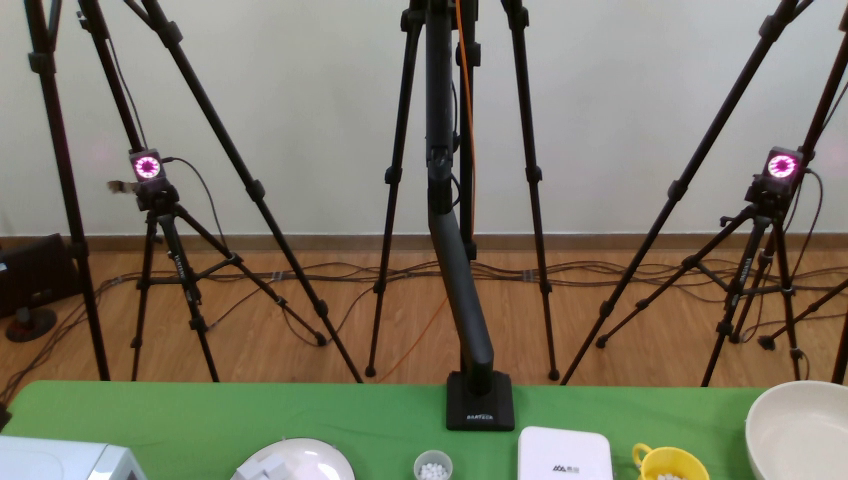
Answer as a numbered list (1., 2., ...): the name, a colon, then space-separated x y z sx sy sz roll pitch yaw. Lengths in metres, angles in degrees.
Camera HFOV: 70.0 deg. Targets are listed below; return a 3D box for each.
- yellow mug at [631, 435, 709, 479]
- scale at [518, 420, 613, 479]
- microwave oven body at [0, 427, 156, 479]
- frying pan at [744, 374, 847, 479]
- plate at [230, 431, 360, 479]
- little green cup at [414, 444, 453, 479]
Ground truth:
1. yellow mug: 0.370 0.359 0.941 0.100 0.064 0.129 -21 42 -21
2. scale: 0.222 0.378 0.952 0.148 0.032 0.199 3 39 7
3. microwave oven body: -0.544 0.469 0.685 0.326 0.262 0.437 3 40 5
4. frying pan: 0.689 0.388 0.859 0.307 0.103 0.482 -17 33 -16
5. plate: -0.201 0.396 0.945 0.208 0.039 0.205 -1 38 1
6. little green cup: 0.016 0.365 0.974 0.061 0.039 0.061 -2 38 2
